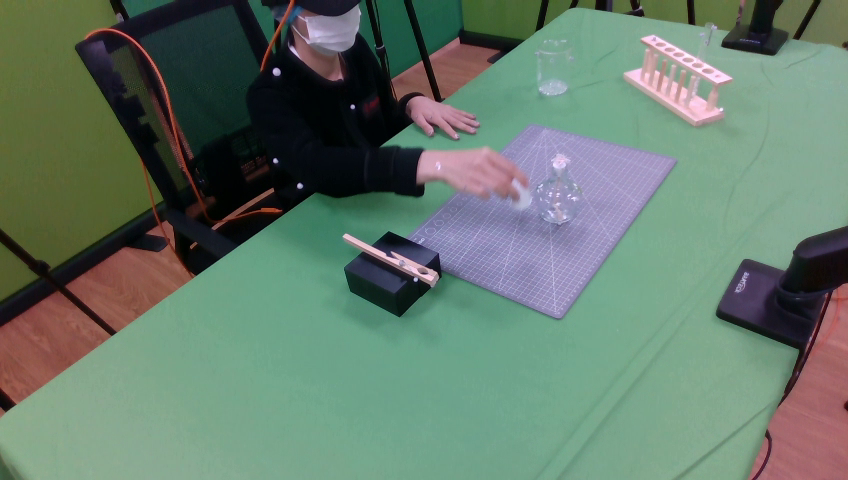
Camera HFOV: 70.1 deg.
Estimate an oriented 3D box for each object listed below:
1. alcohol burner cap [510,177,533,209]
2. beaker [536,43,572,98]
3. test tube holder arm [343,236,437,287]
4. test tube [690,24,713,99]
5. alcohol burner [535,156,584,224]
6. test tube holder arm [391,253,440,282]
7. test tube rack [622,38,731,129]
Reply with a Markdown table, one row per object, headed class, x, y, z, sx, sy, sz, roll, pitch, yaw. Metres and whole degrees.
| class | x | y | z | sx | sy | sz | roll | pitch | yaw |
| --- | --- | --- | --- | --- | --- | --- | --- | --- | --- |
| alcohol burner cap | 0.144 | -0.073 | 0.903 | 0.034 | 0.048 | 0.033 | -8 | 44 | 8 |
| beaker | 0.280 | -0.368 | 1.311 | 0.074 | 0.101 | 0.084 | 4 | 41 | 14 |
| test tube holder arm | -0.054 | 0.028 | 0.879 | 0.177 | 0.015 | 0.013 | 22 | 56 | 32 |
| test tube | 0.534 | -0.342 | 1.173 | 0.017 | 0.151 | 0.017 | -3 | 41 | 3 |
| alcohol burner | 0.217 | -0.085 | 0.967 | 0.078 | 0.119 | 0.077 | -3 | 41 | 3 |
| test tube holder arm | -0.015 | 0.039 | 0.858 | 0.087 | 0.015 | 0.010 | 22 | 57 | 32 |
| test tube rack | 0.506 | -0.325 | 1.234 | 0.067 | 0.085 | 0.240 | -18 | 41 | -11 |
